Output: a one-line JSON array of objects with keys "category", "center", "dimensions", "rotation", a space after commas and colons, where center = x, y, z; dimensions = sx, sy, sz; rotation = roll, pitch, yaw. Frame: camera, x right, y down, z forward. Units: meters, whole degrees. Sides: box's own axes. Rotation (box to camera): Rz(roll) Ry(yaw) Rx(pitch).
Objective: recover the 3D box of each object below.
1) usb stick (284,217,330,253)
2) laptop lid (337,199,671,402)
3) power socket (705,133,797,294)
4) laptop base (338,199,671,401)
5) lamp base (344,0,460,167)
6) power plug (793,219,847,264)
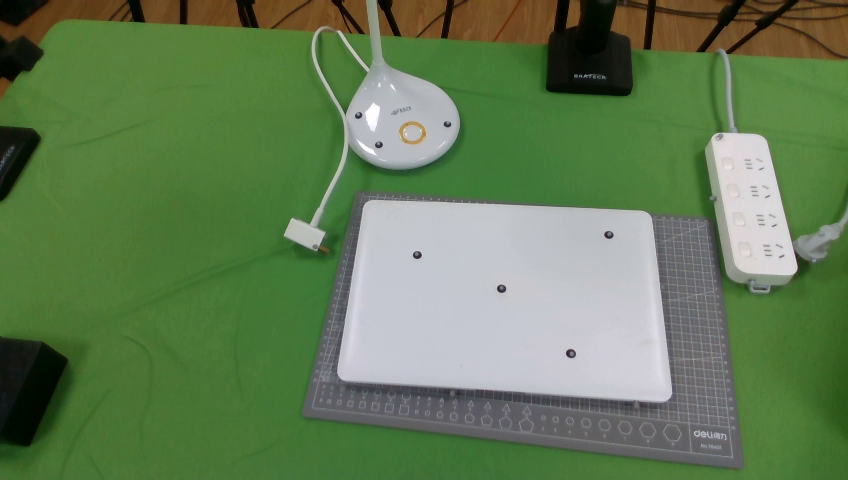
[{"category": "usb stick", "center": [-0.139, -0.005, 0.741], "dimensions": [0.059, 0.021, 0.027], "rotation": [29, 92, -7]}, {"category": "laptop lid", "center": [0.089, 0.057, 0.688], "dimensions": [0.356, 0.013, 0.239], "rotation": [4, 62, 5]}, {"category": "power socket", "center": [0.394, -0.042, 0.739], "dimensions": [0.072, 0.033, 0.225], "rotation": [4, 59, 4]}, {"category": "laptop base", "center": [0.090, 0.062, 0.699], "dimensions": [0.354, 0.023, 0.233], "rotation": [3, 62, 4]}, {"category": "lamp base", "center": [-0.041, -0.214, 0.779], "dimensions": [0.161, 0.182, 0.177], "rotation": [-29, 59, -14]}, {"category": "power plug", "center": [0.462, 0.007, 0.701], "dimensions": [0.073, 0.053, 0.035], "rotation": [-6, 53, -19]}]
